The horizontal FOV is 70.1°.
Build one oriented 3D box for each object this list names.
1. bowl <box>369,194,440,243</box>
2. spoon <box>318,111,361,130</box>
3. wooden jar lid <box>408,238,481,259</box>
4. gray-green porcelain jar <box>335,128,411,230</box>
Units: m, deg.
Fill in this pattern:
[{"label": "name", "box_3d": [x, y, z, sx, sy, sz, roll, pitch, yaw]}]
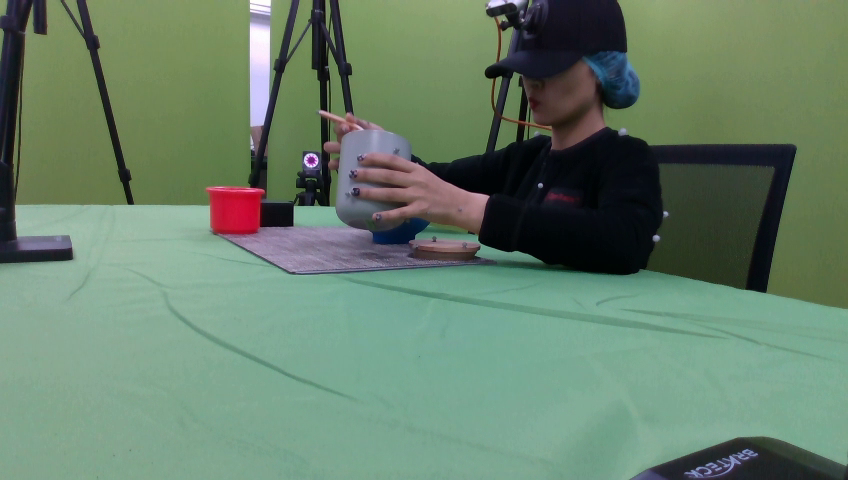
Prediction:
[{"label": "bowl", "box_3d": [-0.050, -0.038, 1.033, 0.151, 0.077, 0.151, 3, 7, 0]}, {"label": "spoon", "box_3d": [-0.106, -0.178, 0.997, 0.193, 0.021, 0.042, 34, 30, 27]}, {"label": "wooden jar lid", "box_3d": [0.031, 0.012, 0.895, 0.108, 0.020, 0.108, 2, 8, 0]}, {"label": "gray-green porcelain jar", "box_3d": [-0.074, -0.084, 0.881, 0.106, 0.126, 0.106, 3, -13, 1]}]
